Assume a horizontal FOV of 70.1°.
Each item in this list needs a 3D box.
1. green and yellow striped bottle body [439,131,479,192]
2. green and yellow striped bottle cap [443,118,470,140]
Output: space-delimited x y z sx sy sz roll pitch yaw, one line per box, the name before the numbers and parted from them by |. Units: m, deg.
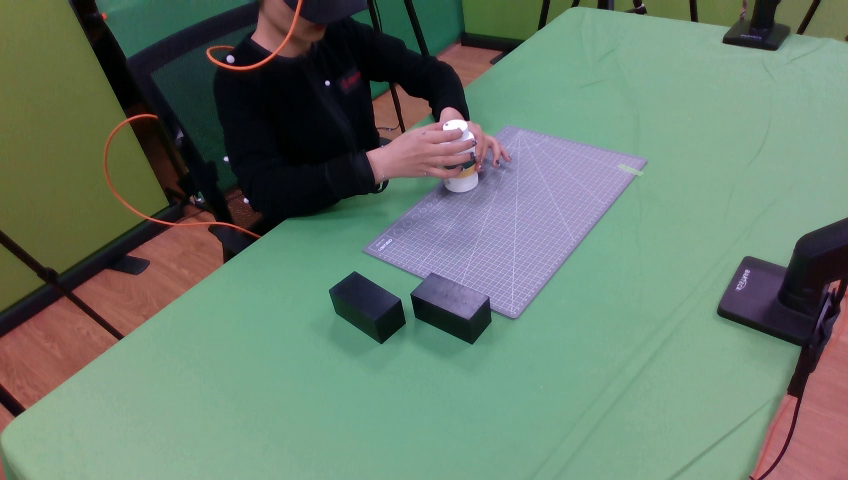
green and yellow striped bottle body | 0.061 -0.149 1.066 0.063 0.120 0.063 -5 40 5
green and yellow striped bottle cap | 0.055 -0.189 1.033 0.045 0.020 0.045 -5 42 5
